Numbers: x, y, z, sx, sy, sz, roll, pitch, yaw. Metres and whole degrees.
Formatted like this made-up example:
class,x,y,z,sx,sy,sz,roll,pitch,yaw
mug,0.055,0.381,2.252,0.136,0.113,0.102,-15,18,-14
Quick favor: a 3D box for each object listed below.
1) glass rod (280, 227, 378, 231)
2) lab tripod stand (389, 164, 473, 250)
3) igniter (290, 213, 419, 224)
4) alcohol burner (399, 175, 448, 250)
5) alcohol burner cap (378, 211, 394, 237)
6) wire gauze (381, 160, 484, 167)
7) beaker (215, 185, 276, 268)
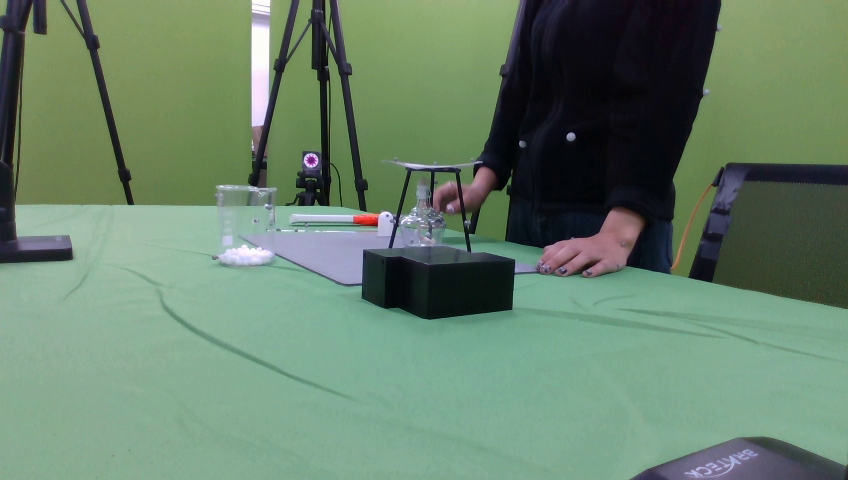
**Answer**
class,x,y,z,sx,sy,sz,roll,pitch,yaw
glass rod,-0.175,-0.021,1.161,0.200,0.008,0.008,0,7,-15
lab tripod stand,0.011,-0.054,0.961,0.148,0.131,0.148,2,9,0
igniter,-0.143,-0.046,1.288,0.278,0.025,0.057,-1,-3,-24
alcohol burner,-0.001,-0.044,0.962,0.078,0.119,0.078,0,8,0
alcohol burner cap,-0.069,-0.030,1.112,0.034,0.048,0.034,2,9,0
wire gauze,0.011,-0.120,0.951,0.122,0.011,0.124,-4,9,-32
beaker,-0.226,-0.019,0.773,0.074,0.100,0.084,5,7,14
